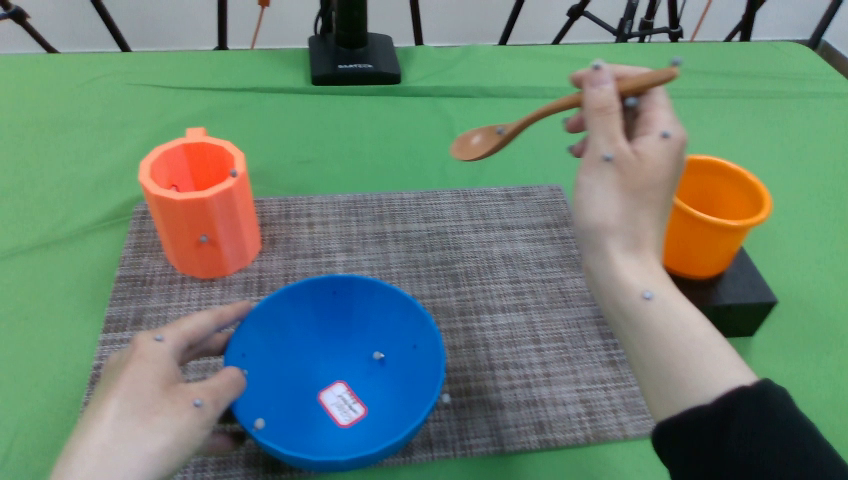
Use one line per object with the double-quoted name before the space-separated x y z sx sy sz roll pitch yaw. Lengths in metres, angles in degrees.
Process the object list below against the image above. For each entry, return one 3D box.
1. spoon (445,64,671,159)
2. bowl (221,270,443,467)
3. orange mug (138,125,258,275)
"spoon" 0.081 -0.089 0.423 0.022 0.193 0.041 39 64 -24
"bowl" -0.064 0.103 0.440 0.151 0.077 0.150 3 45 -3
"orange mug" -0.204 -0.045 0.557 0.084 0.101 0.125 -8 51 -13
